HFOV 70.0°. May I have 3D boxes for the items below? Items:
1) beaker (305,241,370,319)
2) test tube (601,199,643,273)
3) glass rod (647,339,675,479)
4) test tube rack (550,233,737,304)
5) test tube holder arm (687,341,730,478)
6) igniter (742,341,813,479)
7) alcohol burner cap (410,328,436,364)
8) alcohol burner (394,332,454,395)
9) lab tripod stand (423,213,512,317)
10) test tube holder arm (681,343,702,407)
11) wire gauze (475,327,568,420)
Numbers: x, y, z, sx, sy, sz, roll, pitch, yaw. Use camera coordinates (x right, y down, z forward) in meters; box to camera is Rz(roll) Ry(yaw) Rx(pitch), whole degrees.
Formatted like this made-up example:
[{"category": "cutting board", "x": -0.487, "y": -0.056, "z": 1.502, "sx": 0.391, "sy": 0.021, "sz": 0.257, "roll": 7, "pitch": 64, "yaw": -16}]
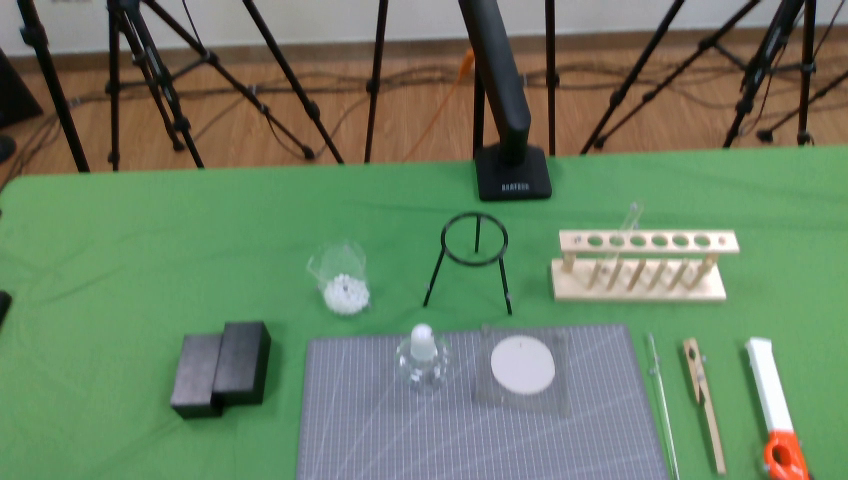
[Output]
[{"category": "beaker", "x": -0.117, "y": 0.061, "z": 0.856, "sx": 0.084, "sy": 0.101, "sz": 0.073, "roll": -9, "pitch": 53, "yaw": -5}, {"category": "test tube", "x": 0.273, "y": -0.001, "z": 0.841, "sx": 0.017, "sy": 0.151, "sz": 0.017, "roll": 2, "pitch": 52, "yaw": -2}, {"category": "glass rod", "x": 0.308, "y": 0.220, "z": 0.785, "sx": 0.008, "sy": 0.008, "sz": 0.198, "roll": 2, "pitch": 56, "yaw": 2}, {"category": "test tube rack", "x": 0.311, "y": 0.041, "z": 0.870, "sx": 0.242, "sy": 0.086, "sz": 0.066, "roll": 0, "pitch": 53, "yaw": 2}, {"category": "test tube holder arm", "x": 0.364, "y": 0.214, "z": 0.781, "sx": 0.013, "sy": 0.015, "sz": 0.176, "roll": -24, "pitch": 48, "yaw": 28}, {"category": "igniter", "x": 0.441, "y": 0.253, "z": 0.747, "sx": 0.057, "sy": 0.025, "sz": 0.274, "roll": 9, "pitch": 54, "yaw": -5}, {"category": "alcohol burner cap", "x": -0.002, "y": 0.128, "z": 0.746, "sx": 0.034, "sy": 0.048, "sz": 0.033, "roll": 0, "pitch": 47, "yaw": 1}, {"category": "alcohol burner", "x": -0.001, "y": 0.150, "z": 0.775, "sx": 0.078, "sy": 0.120, "sz": 0.077, "roll": -2, "pitch": 54, "yaw": 3}, {"category": "lab tripod stand", "x": 0.065, "y": 0.039, "z": 0.847, "sx": 0.148, "sy": 0.132, "sz": 0.147, "roll": -1, "pitch": 55, "yaw": 1}, {"category": "test tube holder arm", "x": 0.360, "y": 0.180, "z": 0.810, "sx": 0.010, "sy": 0.015, "sz": 0.087, "roll": -23, "pitch": 48, "yaw": 29}, {"category": "wire gauze", "x": 0.134, "y": 0.175, "z": 0.820, "sx": 0.125, "sy": 0.011, "sz": 0.120, "roll": 7, "pitch": 55, "yaw": 5}]
